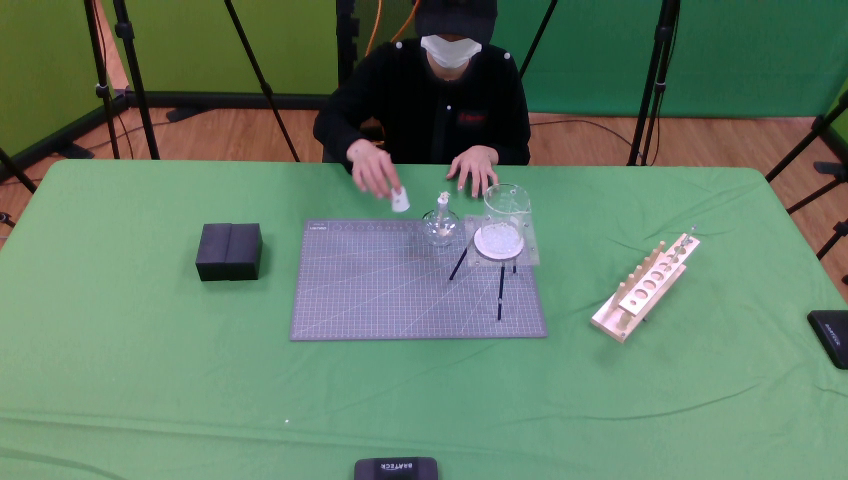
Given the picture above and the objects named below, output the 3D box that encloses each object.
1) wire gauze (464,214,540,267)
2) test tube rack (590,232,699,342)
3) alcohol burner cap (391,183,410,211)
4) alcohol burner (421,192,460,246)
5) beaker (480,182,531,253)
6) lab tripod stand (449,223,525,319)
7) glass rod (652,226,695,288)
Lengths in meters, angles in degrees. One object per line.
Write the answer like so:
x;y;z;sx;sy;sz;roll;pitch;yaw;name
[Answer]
0.131;-0.001;1.035;0.121;0.011;0.124;1;44;-3;wire gauze
0.407;0.074;1.112;0.066;0.085;0.242;35;53;26;test tube rack
-0.045;-0.081;1.095;0.034;0.048;0.033;-6;35;5;alcohol burner cap
0.032;-0.046;1.176;0.078;0.120;0.077;2;44;-2;alcohol burner
0.133;-0.033;0.998;0.083;0.101;0.074;26;51;22;beaker
0.120;0.046;1.080;0.148;0.132;0.147;1;47;-1;lab tripod stand
0.432;0.037;1.057;0.008;0.200;0.008;1;54;-1;glass rod
